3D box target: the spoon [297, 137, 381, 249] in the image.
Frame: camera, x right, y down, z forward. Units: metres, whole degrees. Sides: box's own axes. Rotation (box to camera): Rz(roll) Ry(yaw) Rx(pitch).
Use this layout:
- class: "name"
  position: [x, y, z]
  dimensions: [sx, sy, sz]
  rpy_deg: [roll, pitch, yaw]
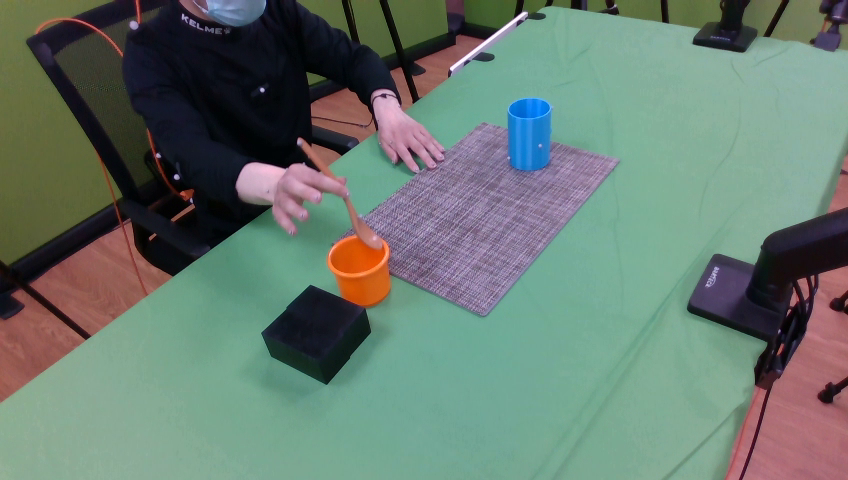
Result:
- class: "spoon"
  position: [-0.113, -0.062, 0.827]
  dimensions: [0.021, 0.195, 0.041]
  rpy_deg: [-20, 29, 18]

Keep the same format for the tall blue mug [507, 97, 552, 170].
- class: "tall blue mug"
  position: [0.179, -0.198, 1.101]
  dimensions: [0.078, 0.108, 0.106]
  rpy_deg: [-36, 49, -28]
